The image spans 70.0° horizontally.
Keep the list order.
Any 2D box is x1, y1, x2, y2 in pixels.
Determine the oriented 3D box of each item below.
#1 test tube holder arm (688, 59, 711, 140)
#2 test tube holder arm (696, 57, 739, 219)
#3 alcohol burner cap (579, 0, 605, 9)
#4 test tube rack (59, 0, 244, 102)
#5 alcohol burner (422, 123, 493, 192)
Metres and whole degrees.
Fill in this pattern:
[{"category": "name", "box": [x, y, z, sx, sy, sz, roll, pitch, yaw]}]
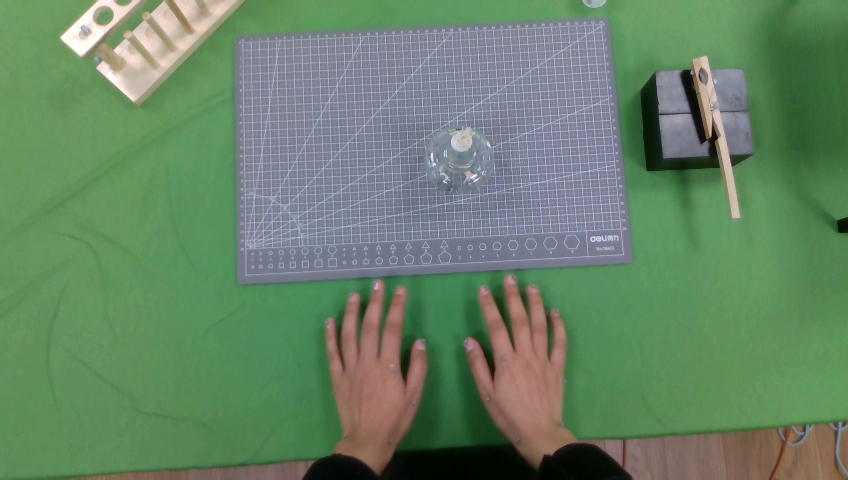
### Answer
[{"category": "test tube holder arm", "box": [0.302, -0.153, 0.661, 0.010, 0.015, 0.087, -12, 86, 15]}, {"category": "test tube holder arm", "box": [0.317, -0.110, 0.656, 0.013, 0.015, 0.178, -13, 86, 15]}, {"category": "alcohol burner cap", "box": [0.205, -0.301, 0.721, 0.034, 0.048, 0.033, 0, 81, 0]}, {"category": "test tube rack", "box": [-0.281, -0.279, 0.692, 0.066, 0.085, 0.242, 42, 83, 6]}, {"category": "alcohol burner", "box": [0.037, -0.094, 0.650, 0.078, 0.119, 0.077, 0, 80, -1]}]
